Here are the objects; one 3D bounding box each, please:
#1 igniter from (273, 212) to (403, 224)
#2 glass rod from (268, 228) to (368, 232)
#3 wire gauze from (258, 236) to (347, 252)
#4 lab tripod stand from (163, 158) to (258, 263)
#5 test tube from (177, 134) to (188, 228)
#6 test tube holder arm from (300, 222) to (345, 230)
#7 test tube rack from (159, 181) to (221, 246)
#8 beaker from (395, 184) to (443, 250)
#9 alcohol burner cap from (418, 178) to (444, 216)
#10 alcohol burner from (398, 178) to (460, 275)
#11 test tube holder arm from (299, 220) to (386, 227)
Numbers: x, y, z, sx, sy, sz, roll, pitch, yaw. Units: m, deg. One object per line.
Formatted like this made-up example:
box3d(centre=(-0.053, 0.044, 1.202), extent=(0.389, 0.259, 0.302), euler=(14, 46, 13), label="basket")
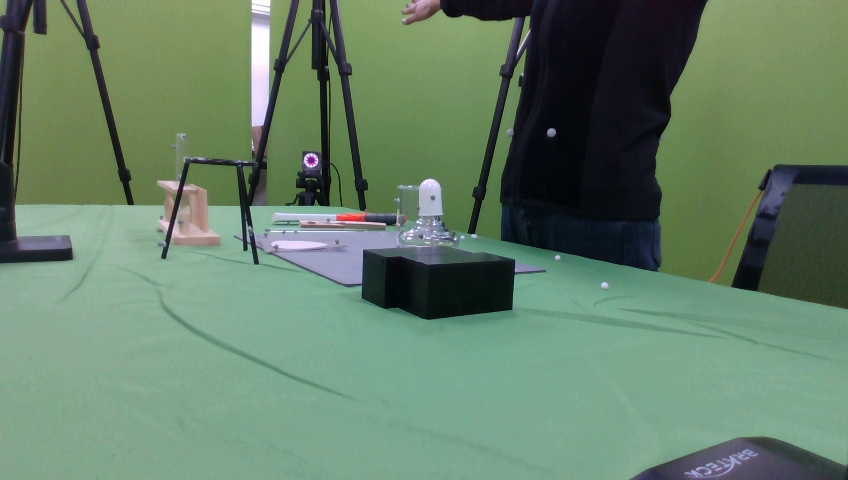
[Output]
box3d(centre=(-0.179, -0.048, 1.290), extent=(0.278, 0.025, 0.057), euler=(-1, -2, -24), label="igniter")
box3d(centre=(-0.193, -0.018, 1.128), extent=(0.201, 0.008, 0.008), euler=(0, 7, -35), label="glass rod")
box3d(centre=(-0.189, 0.005, 0.931), extent=(0.122, 0.011, 0.124), euler=(1, 7, -21), label="wire gauze")
box3d(centre=(-0.265, -0.041, 0.802), extent=(0.148, 0.131, 0.148), euler=(4, 6, 0), label="lab tripod stand")
box3d(centre=(-0.374, -0.089, 0.938), extent=(0.017, 0.150, 0.017), euler=(2, 4, 0), label="test tube")
box3d(centre=(-0.196, -0.027, 1.170), extent=(0.088, 0.015, 0.010), euler=(-1, 43, -28), label="test tube holder arm")
box3d(centre=(-0.395, -0.050, 1.011), extent=(0.067, 0.085, 0.241), euler=(-2, 8, -28), label="test tube rack")
box3d(centre=(-0.007, -0.037, 0.965), extent=(0.074, 0.100, 0.083), euler=(-4, 11, -40), label="beaker")
box3d(centre=(0.007, -0.053, 0.745), extent=(0.034, 0.048, 0.034), euler=(-3, 6, 1), label="alcohol burner cap")
box3d(centre=(0.007, -0.017, 0.751), extent=(0.078, 0.119, 0.078), euler=(3, 9, 0), label="alcohol burner")
box3d(centre=(-0.158, -0.032, 1.195), extent=(0.179, 0.015, 0.013), euler=(-1, 43, -29), label="test tube holder arm")
